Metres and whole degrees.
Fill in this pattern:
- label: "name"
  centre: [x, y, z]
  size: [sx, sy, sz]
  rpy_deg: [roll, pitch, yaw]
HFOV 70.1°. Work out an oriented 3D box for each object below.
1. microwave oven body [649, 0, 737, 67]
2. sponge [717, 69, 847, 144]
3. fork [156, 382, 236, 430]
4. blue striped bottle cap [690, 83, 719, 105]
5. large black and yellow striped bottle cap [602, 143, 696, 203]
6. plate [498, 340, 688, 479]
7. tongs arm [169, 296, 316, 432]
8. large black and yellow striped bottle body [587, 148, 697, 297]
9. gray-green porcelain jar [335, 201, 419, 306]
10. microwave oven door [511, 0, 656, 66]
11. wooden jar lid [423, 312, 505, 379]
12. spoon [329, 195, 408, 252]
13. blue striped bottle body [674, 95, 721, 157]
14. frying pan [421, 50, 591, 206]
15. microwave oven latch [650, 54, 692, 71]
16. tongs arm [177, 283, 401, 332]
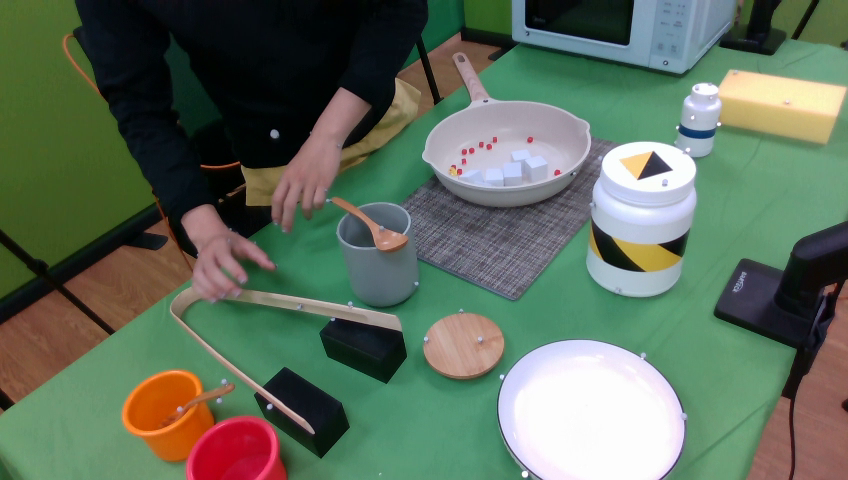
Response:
- label: "microwave oven body"
  centre: [0.475, -0.602, 1.411]
  size: [0.438, 0.261, 0.327]
  rpy_deg: [23, 50, 32]
- label: "sponge"
  centre: [0.663, -0.256, 1.142]
  size: [0.205, 0.061, 0.118]
  rpy_deg: [19, 47, 28]
- label: "fork"
  centre: [-0.262, 0.189, 0.690]
  size: [0.018, 0.206, 0.028]
  rpy_deg: [49, 43, -7]
- label: "blue striped bottle cap"
  centre: [0.481, -0.251, 1.038]
  size: [0.044, 0.021, 0.044]
  rpy_deg: [-5, 39, 5]
- label: "large black and yellow striped bottle cap"
  centre: [0.289, -0.088, 0.779]
  size: [0.115, 0.019, 0.114]
  rpy_deg: [-5, 40, 4]
- label: "plate"
  centre: [0.189, 0.206, 0.692]
  size: [0.207, 0.039, 0.206]
  rpy_deg: [-4, 40, 4]
- label: "tongs arm"
  centre: [-0.248, 0.148, 0.775]
  size: [0.384, 0.028, 0.028]
  rpy_deg: [20, 56, 44]
- label: "large black and yellow striped bottle body"
  centre: [0.298, -0.026, 0.835]
  size: [0.131, 0.185, 0.130]
  rpy_deg: [-4, 41, 4]
- label: "gray-green porcelain jar"
  centre: [-0.064, 0.024, 0.872]
  size: [0.106, 0.127, 0.105]
  rpy_deg: [-4, 41, 4]
- label: "microwave oven door"
  centre: [0.350, -0.539, 1.348]
  size: [0.353, 0.245, 0.039]
  rpy_deg: [24, 50, 31]
- label: "wooden jar lid"
  centre: [0.053, 0.142, 0.800]
  size: [0.108, 0.021, 0.108]
  rpy_deg: [-5, 39, 4]
- label: "spoon"
  centre: [-0.082, -0.029, 0.828]
  size: [0.042, 0.022, 0.192]
  rpy_deg: [-31, 43, -20]
- label: "blue striped bottle body"
  centre: [0.486, -0.213, 1.072]
  size: [0.063, 0.121, 0.063]
  rpy_deg: [-4, 41, 4]
- label: "frying pan"
  centre: [0.127, -0.233, 1.154]
  size: [0.307, 0.103, 0.484]
  rpy_deg: [-11, 49, -5]
- label: "microwave oven latch"
  centre: [0.530, -0.386, 1.301]
  size: [0.078, 0.029, 0.030]
  rpy_deg: [23, 50, 32]
- label: "tongs arm"
  centre: [-0.199, 0.096, 0.823]
  size: [0.382, 0.027, 0.051]
  rpy_deg: [7, 44, 34]
